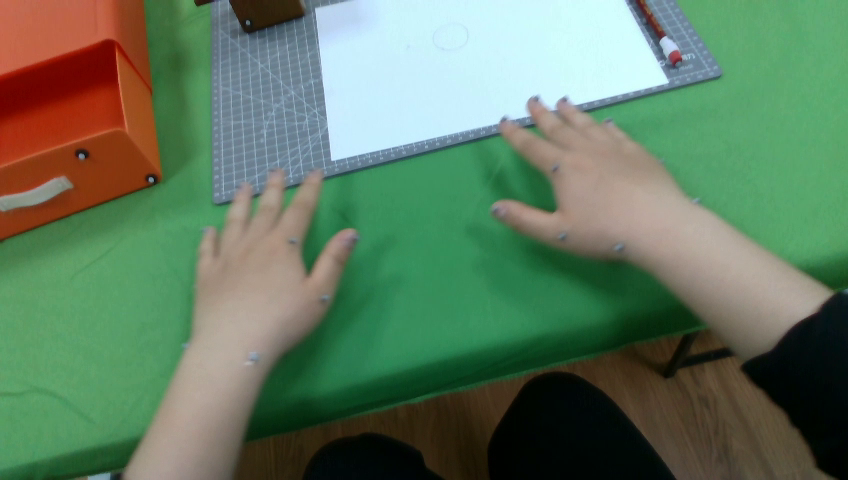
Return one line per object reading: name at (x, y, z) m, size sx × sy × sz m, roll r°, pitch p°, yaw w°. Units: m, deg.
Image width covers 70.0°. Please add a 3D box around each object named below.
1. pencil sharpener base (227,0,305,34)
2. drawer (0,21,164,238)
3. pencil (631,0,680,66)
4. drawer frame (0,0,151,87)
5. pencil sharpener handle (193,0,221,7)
pencil sharpener base at (-0.174, -0.272, 0.605) m, size 0.077 × 0.108 × 0.060 m, roll -19°, pitch 58°, yaw -1°
drawer at (-0.358, -0.116, 0.561) m, size 0.194 × 0.074 × 0.209 m, roll -21°, pitch 58°, yaw -3°
pencil at (0.198, -0.230, 0.573) m, size 0.012 × 0.012 × 0.192 m, roll -15°, pitch 57°, yaw 1°
drawer frame at (-0.397, -0.208, 0.621) m, size 0.202 × 0.083 × 0.211 m, roll -20°, pitch 57°, yaw -3°
pencil sharpener handle at (-0.224, -0.261, 0.593) m, size 0.030 × 0.068 × 0.035 m, roll -19°, pitch 54°, yaw -1°
